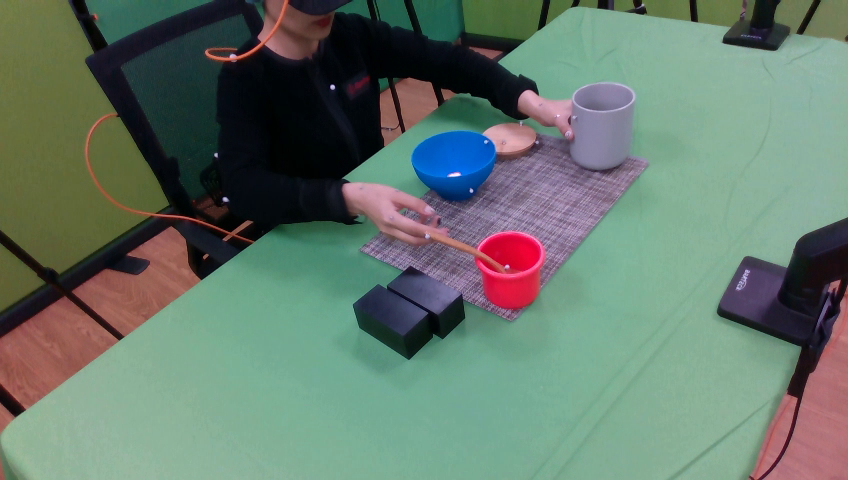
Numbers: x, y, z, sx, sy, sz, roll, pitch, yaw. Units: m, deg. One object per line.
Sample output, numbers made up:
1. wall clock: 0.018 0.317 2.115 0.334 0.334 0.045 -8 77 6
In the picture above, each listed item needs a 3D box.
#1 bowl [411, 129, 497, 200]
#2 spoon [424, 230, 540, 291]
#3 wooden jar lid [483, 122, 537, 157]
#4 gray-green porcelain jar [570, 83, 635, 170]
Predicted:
1. bowl: 0.056 -0.124 1.070 0.151 0.077 0.150 -6 40 5
2. spoon: 0.083 0.026 0.836 0.195 0.021 0.041 29 31 -24
3. wooden jar lid: 0.165 -0.195 1.177 0.108 0.021 0.108 -4 40 4
4. gray-green porcelain jar: 0.313 -0.197 1.069 0.106 0.127 0.105 -5 40 5
